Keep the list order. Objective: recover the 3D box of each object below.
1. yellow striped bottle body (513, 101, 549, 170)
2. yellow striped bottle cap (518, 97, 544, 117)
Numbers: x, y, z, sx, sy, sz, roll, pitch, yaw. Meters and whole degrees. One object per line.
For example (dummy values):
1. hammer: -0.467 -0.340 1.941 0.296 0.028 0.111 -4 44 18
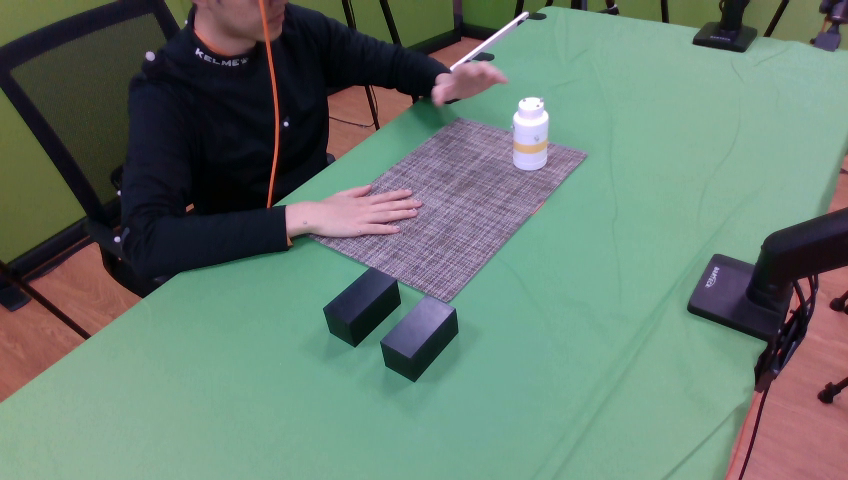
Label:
1. yellow striped bottle body: 0.191 -0.192 1.082 0.063 0.121 0.062 -4 41 4
2. yellow striped bottle cap: 0.185 -0.230 1.048 0.044 0.019 0.044 -3 40 3
